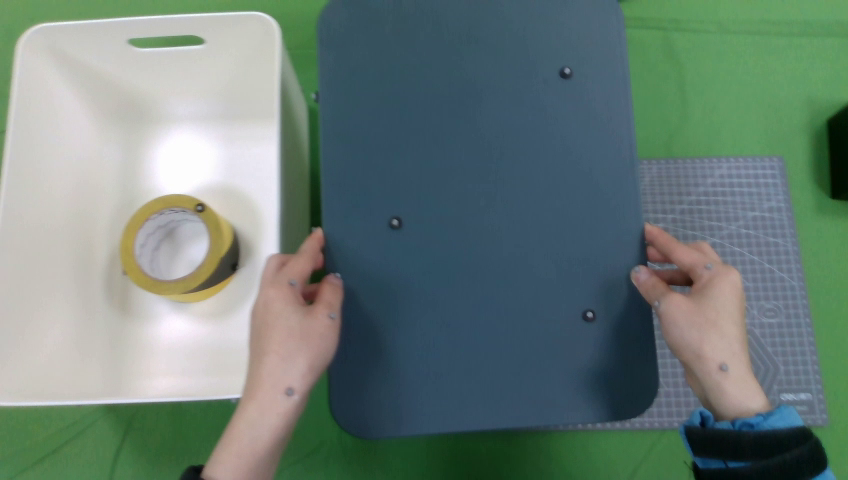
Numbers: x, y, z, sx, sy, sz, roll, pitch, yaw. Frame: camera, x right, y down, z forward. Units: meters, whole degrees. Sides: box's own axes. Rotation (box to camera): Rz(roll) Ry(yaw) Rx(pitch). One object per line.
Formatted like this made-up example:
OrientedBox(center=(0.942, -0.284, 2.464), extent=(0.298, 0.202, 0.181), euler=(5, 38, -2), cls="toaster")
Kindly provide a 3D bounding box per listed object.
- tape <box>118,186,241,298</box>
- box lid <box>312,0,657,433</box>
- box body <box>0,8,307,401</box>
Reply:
OrientedBox(center=(-0.264, 0.004, 0.659), extent=(0.117, 0.053, 0.116), euler=(0, 77, 1), cls="tape")
OrientedBox(center=(0.047, -0.039, 0.496), extent=(0.263, 0.015, 0.370), euler=(-3, 84, -4), cls="box lid")
OrientedBox(center=(-0.254, -0.026, 0.616), extent=(0.254, 0.161, 0.362), euler=(-3, 77, 0), cls="box body")
